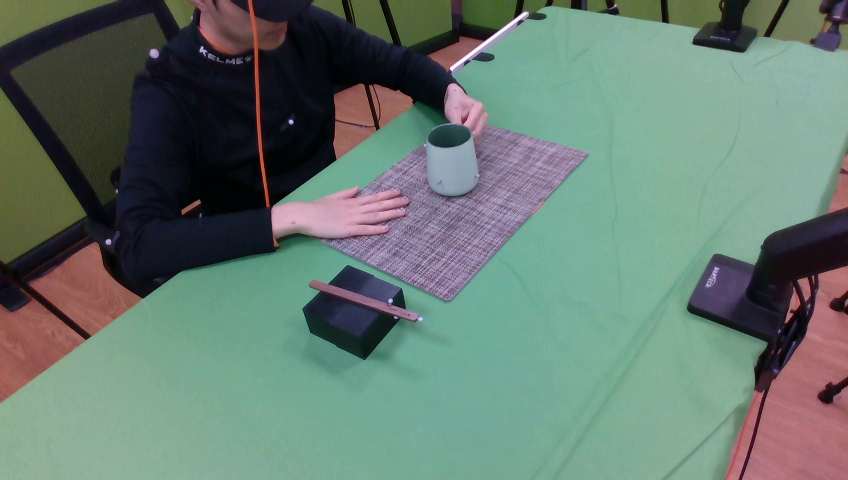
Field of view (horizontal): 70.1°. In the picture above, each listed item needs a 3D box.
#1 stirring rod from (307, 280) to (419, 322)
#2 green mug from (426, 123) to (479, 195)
[{"bbox_3d":[-0.086,0.081,0.822,0.175,0.006,0.014,15,45,23],"label":"stirring rod"},{"bbox_3d":[0.052,-0.151,1.066,0.092,0.105,0.125,4,43,15],"label":"green mug"}]
